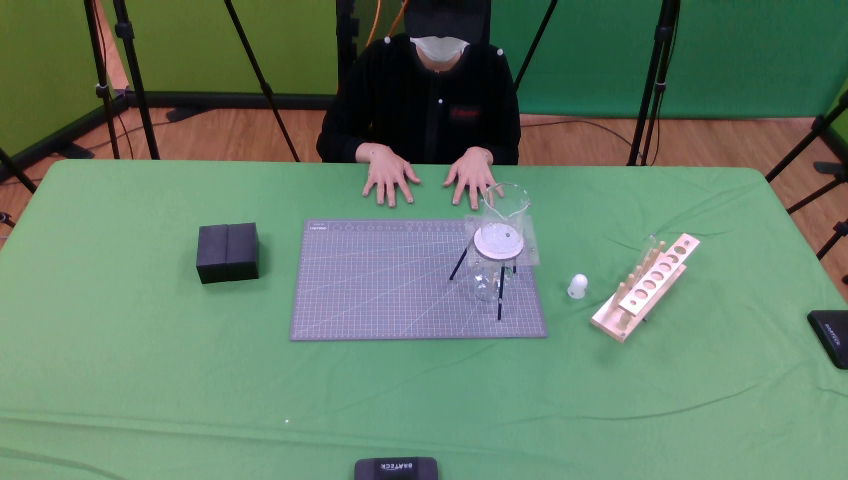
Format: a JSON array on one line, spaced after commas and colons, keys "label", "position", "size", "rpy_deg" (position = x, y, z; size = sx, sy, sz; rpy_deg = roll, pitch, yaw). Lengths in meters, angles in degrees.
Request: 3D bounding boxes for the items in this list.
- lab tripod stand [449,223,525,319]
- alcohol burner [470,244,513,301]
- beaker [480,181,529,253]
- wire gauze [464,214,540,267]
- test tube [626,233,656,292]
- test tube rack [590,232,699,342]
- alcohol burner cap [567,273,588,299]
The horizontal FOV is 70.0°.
[{"label": "lab tripod stand", "position": [0.120, 0.046, 1.080], "size": [0.148, 0.132, 0.147], "rpy_deg": [1, 47, -1]}, {"label": "alcohol burner", "position": [0.122, 0.054, 1.087], "size": [0.078, 0.120, 0.077], "rpy_deg": [1, 45, -1]}, {"label": "beaker", "position": [0.130, -0.033, 0.998], "size": [0.074, 0.101, 0.083], "rpy_deg": [5, 47, 4]}, {"label": "wire gauze", "position": [0.131, -0.001, 1.035], "size": [0.121, 0.011, 0.124], "rpy_deg": [1, 44, -2]}, {"label": "test tube", "position": [0.384, 0.042, 1.079], "size": [0.017, 0.151, 0.017], "rpy_deg": [1, 47, -1]}, {"label": "test tube rack", "position": [0.407, 0.074, 1.112], "size": [0.066, 0.085, 0.242], "rpy_deg": [35, 53, 26]}, {"label": "alcohol burner cap", "position": [0.287, 0.083, 1.125], "size": [0.034, 0.048, 0.033], "rpy_deg": [2, 45, -1]}]
